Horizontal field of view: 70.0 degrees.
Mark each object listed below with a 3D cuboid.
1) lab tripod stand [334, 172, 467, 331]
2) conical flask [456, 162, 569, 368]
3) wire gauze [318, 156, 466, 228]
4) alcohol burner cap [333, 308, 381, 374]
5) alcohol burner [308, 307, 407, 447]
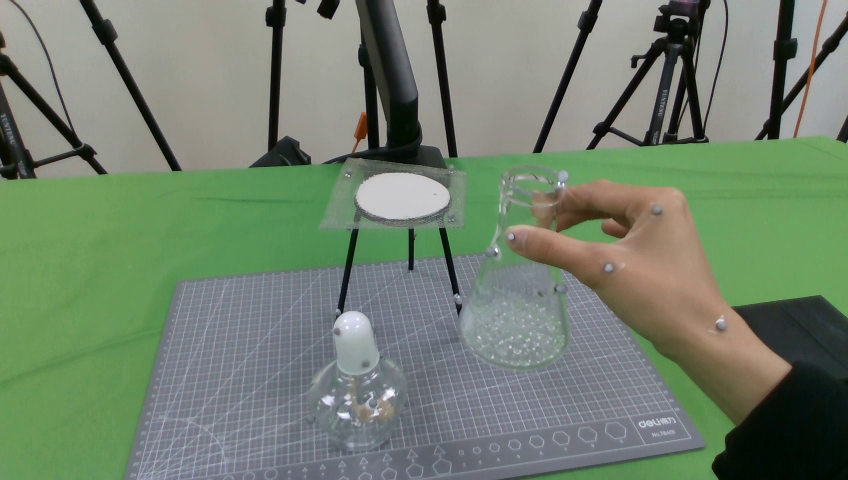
[{"bbox_3d":[-0.018,0.012,0.586,0.148,0.132,0.147,3,33,-1],"label":"lab tripod stand"},{"bbox_3d":[0.060,0.014,0.376,0.075,0.123,0.074,1,34,0],"label":"conical flask"},{"bbox_3d":[-0.023,-0.044,0.549,0.121,0.011,0.124,4,34,3],"label":"wire gauze"},{"bbox_3d":[-0.051,0.072,0.446,0.034,0.048,0.033,-4,37,3],"label":"alcohol burner cap"},{"bbox_3d":[-0.052,0.101,0.467,0.078,0.120,0.077,0,32,0],"label":"alcohol burner"}]
